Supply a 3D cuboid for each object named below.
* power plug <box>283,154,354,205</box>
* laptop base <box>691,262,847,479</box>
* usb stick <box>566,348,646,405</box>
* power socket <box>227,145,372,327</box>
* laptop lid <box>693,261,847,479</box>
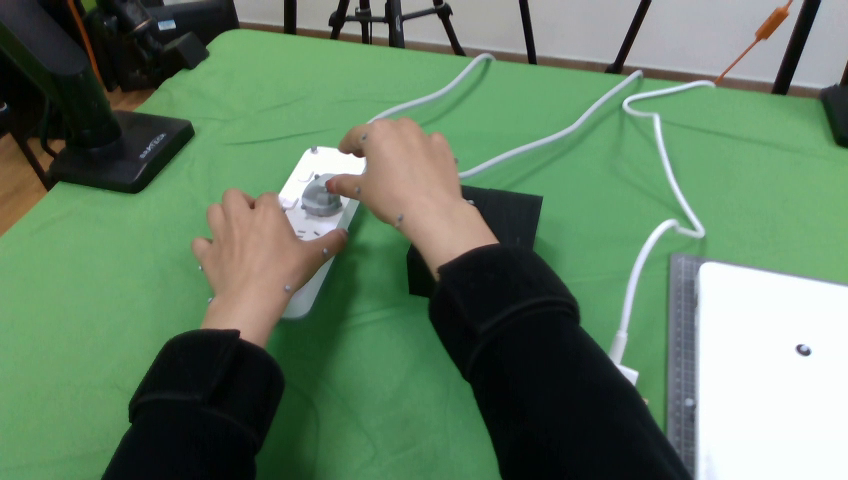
[{"bbox_3d":[-0.096,-0.063,0.550,0.053,0.073,0.035,24,30,-11],"label":"power plug"},{"bbox_3d":[0.370,0.138,0.421,0.353,0.023,0.234,12,50,12],"label":"laptop base"},{"bbox_3d":[0.138,0.103,0.452,0.059,0.021,0.027,23,88,9],"label":"usb stick"},{"bbox_3d":[-0.110,-0.016,0.575,0.072,0.033,0.225,10,46,9],"label":"power socket"},{"bbox_3d":[0.369,0.132,0.411,0.355,0.013,0.240,13,49,14],"label":"laptop lid"}]
